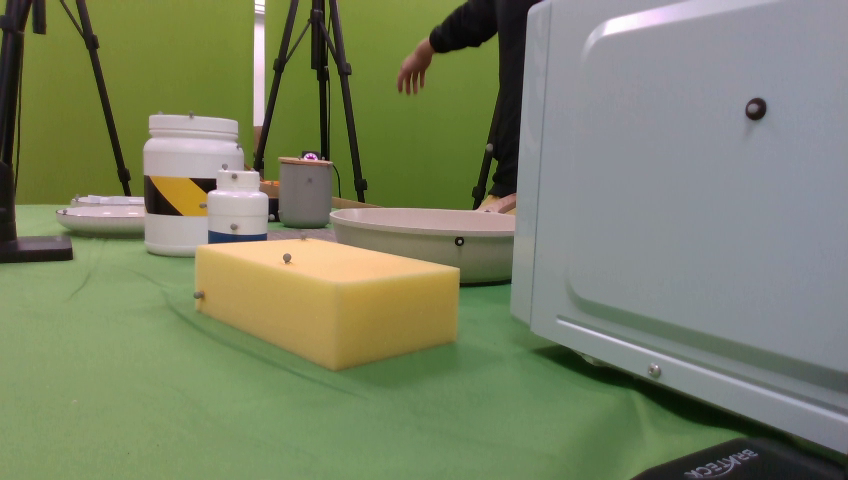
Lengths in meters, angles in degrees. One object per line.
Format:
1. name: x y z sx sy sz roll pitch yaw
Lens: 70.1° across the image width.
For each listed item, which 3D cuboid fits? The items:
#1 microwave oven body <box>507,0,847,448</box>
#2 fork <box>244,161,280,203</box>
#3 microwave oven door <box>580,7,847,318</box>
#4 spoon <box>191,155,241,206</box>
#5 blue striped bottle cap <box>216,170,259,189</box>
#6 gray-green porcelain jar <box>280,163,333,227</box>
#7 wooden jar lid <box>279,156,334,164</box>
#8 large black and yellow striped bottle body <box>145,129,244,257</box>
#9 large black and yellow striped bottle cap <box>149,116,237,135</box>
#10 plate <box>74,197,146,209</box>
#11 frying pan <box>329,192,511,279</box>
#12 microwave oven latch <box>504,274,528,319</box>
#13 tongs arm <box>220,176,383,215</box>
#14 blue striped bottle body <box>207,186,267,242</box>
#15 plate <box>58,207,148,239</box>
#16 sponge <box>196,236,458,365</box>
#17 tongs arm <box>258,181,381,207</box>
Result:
1. microwave oven body: 0.331 -0.042 0.425 0.444 0.260 0.324 -2 8 -31
2. fork: -0.398 -0.144 1.489 0.028 0.018 0.208 22 -24 47
3. microwave oven door: 0.295 -0.067 0.570 0.358 0.243 0.039 -3 9 -31
4. spoon: -0.489 -0.136 1.417 0.041 0.021 0.194 2 -35 19
5. blue striped bottle cap: -0.201 -0.066 0.654 0.044 0.020 0.044 0 6 0
6. gray-green porcelain jar: -0.238 -0.092 1.221 0.106 0.126 0.106 2 7 0
7. wooden jar lid: -0.237 -0.154 1.213 0.108 0.020 0.108 6 9 -1
8. large black and yellow striped bottle body: -0.320 -0.075 0.851 0.131 0.184 0.130 2 8 0
9. large black and yellow striped bottle cap: -0.319 -0.158 0.841 0.115 0.019 0.115 3 6 0
10. plate: -0.596 -0.062 1.238 0.208 0.039 0.207 2 8 0
11. frying pan: 0.071 -0.030 0.883 0.305 0.102 0.490 7 17 27
12. microwave oven latch: 0.100 0.041 0.471 0.079 0.029 0.030 -1 8 -28
13. tongs arm: -0.285 -0.104 1.445 0.389 0.027 0.028 9 -4 -23
14. blue striped bottle body: -0.204 -0.016 0.661 0.063 0.120 0.063 2 7 0
15. plate: -0.496 -0.030 1.022 0.209 0.038 0.209 2 8 0
16. sponge: -0.087 0.039 0.500 0.206 0.061 0.119 8 9 44
17. tongs arm: -0.241 -0.095 1.373 0.387 0.026 0.050 9 0 -37
